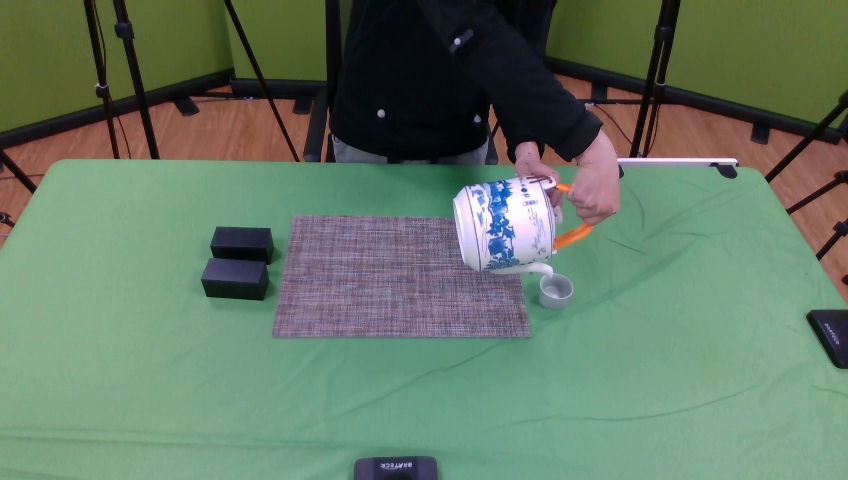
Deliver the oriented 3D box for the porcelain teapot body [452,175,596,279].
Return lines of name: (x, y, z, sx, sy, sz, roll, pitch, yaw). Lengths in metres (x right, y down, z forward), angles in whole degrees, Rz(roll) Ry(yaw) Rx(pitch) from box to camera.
porcelain teapot body: (0.171, -0.010, 1.020, 0.225, 0.206, 0.144, -10, 37, -1)

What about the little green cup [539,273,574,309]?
little green cup: (0.240, 0.096, 1.113, 0.061, 0.039, 0.061, 3, 47, -2)

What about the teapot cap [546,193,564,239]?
teapot cap: (0.207, -0.039, 0.999, 0.044, 0.085, 0.084, -7, 47, -2)
